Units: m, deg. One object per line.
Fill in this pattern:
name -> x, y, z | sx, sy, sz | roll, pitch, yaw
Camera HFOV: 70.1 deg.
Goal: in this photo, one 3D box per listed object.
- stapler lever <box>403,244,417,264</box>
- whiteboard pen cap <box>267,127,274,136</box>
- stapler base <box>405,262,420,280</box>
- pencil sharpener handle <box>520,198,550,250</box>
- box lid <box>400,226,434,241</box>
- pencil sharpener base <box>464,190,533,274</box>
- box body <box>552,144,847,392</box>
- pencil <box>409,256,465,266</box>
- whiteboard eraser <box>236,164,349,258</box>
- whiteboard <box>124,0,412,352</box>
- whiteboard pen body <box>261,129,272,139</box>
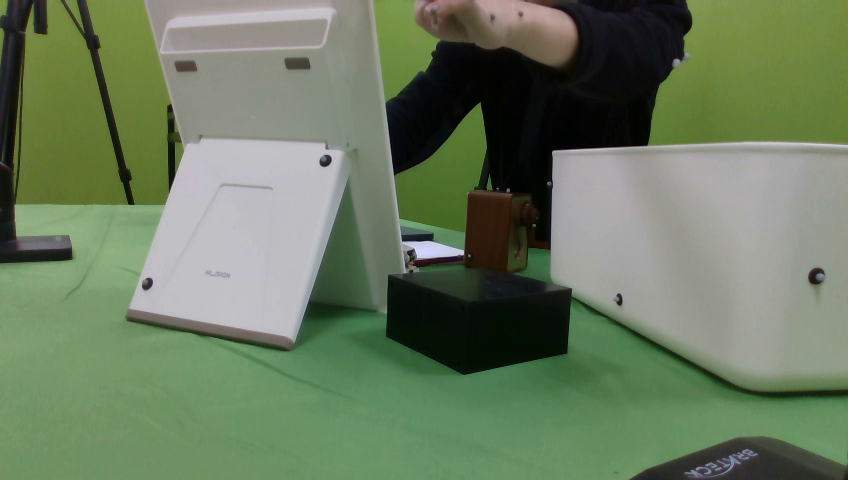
stapler lever -> -0.066, 0.003, 0.754 | 0.117, 0.040, 0.027 | 9, 13, 23
whiteboard pen cap -> -0.340, -0.239, 1.337 | 0.018, 0.018, 0.033 | 1, -1, -14
stapler base -> -0.069, 0.027, 0.759 | 0.130, 0.024, 0.041 | 9, 13, 23
pencil sharpener handle -> 0.147, -0.020, 0.785 | 0.030, 0.068, 0.036 | 8, 25, 36
box lid -> -0.196, -0.015, 1.105 | 0.373, 0.015, 0.262 | -1, 7, -32
pencil sharpener base -> 0.103, -0.012, 0.813 | 0.076, 0.107, 0.061 | 8, 9, 36
box body -> 0.290, 0.002, 0.549 | 0.255, 0.160, 0.363 | 2, 7, -10
pencil -> 0.041, 0.028, 0.851 | 0.195, 0.012, 0.012 | -4, 10, -44
whiteboard eraser -> -0.129, -0.025, 0.579 | 0.112, 0.056, 0.042 | -25, 21, 33
whiteboard -> -0.151, -0.050, 0.471 | 0.216, 0.305, 0.144 | 6, 27, 24
whiteboard pen body -> -0.361, -0.245, 1.393 | 0.017, 0.017, 0.140 | 0, 5, -20
